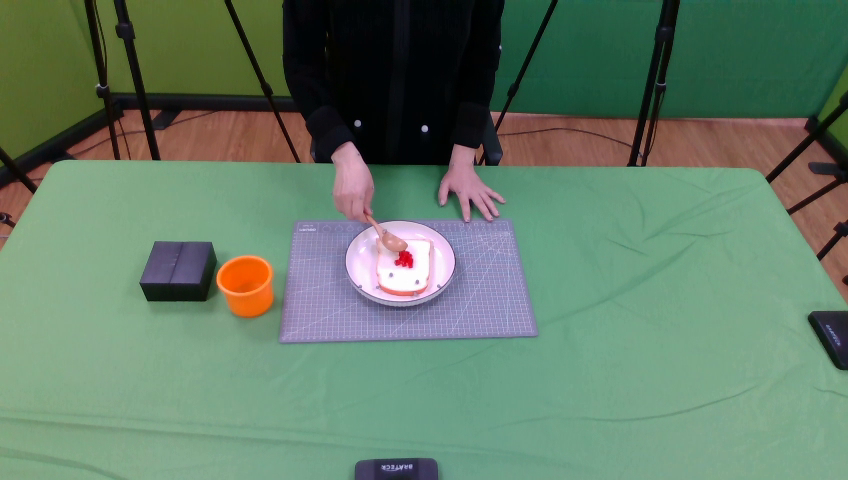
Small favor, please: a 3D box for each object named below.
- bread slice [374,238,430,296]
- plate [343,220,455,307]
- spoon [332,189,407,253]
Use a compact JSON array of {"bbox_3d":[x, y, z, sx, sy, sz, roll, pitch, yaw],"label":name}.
[{"bbox_3d":[-0.039,0.048,1.136,0.107,0.018,0.133,-1,46,-4],"label":"bread slice"},{"bbox_3d":[-0.047,0.046,1.135,0.209,0.038,0.208,2,46,-2],"label":"plate"},{"bbox_3d":[-0.106,-0.039,1.147,0.193,0.022,0.041,43,56,15],"label":"spoon"}]
